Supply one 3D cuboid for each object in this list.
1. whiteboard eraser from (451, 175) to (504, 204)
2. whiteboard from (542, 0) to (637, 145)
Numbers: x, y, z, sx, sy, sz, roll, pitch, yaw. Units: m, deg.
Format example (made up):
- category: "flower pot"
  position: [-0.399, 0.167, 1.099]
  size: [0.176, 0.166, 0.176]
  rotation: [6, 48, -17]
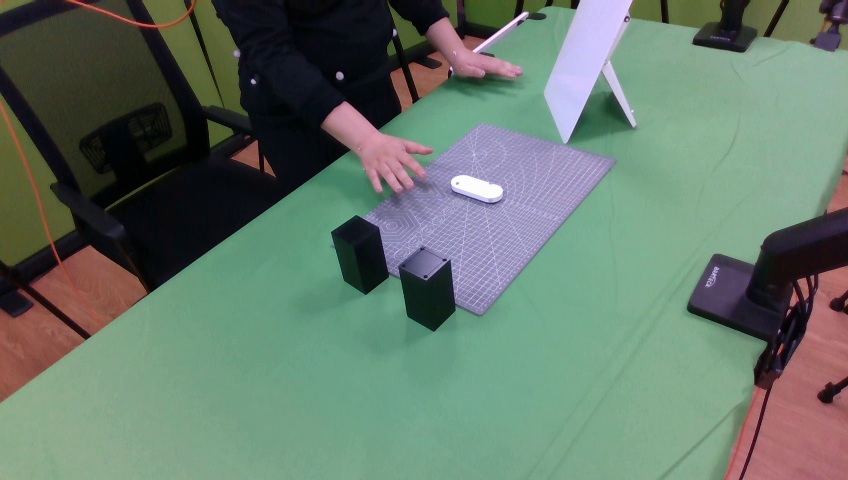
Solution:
- category: "whiteboard eraser"
  position: [0.093, -0.089, 1.059]
  size: [0.100, 0.019, 0.041]
  rotation: [21, 49, 30]
- category: "whiteboard"
  position: [0.365, -0.351, 1.160]
  size: [0.144, 0.305, 0.216]
  rotation: [9, 39, -10]
